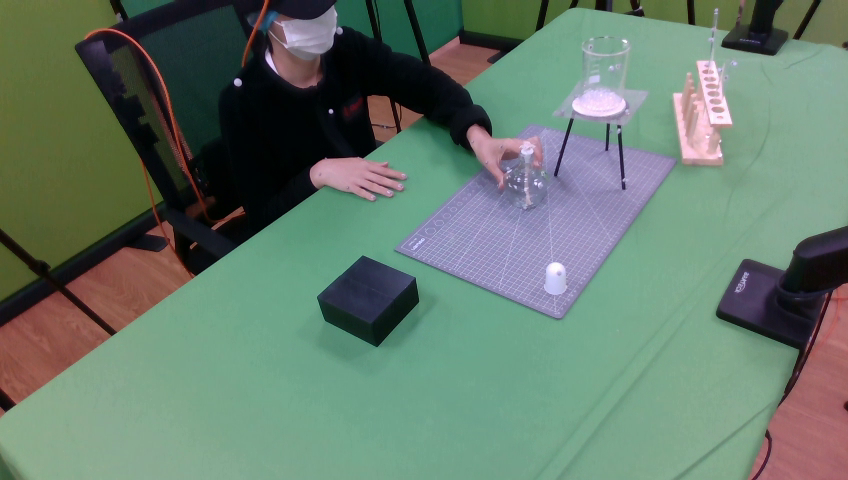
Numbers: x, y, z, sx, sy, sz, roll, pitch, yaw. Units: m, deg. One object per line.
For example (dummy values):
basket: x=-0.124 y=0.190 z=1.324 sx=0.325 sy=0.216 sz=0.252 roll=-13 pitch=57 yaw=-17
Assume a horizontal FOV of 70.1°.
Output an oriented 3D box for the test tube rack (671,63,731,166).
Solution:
test tube rack: x=0.513 y=-0.240 z=1.132 sx=0.066 sy=0.085 sz=0.242 roll=4 pitch=41 yaw=14

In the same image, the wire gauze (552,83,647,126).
wire gauze: x=0.293 y=-0.224 z=1.004 sx=0.120 sy=0.011 sz=0.125 roll=19 pitch=43 yaw=26

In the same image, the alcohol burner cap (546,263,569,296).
alcohol burner cap: x=0.191 y=0.053 z=0.862 sx=0.034 sy=0.048 sz=0.033 roll=-5 pitch=40 yaw=4

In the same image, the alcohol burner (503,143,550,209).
alcohol burner: x=0.171 y=-0.111 z=1.006 sx=0.078 sy=0.119 sz=0.077 roll=-4 pitch=41 yaw=4

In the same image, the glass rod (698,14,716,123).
glass rod: x=0.531 y=-0.320 z=1.136 sx=0.008 sy=0.200 sz=0.008 roll=3 pitch=12 yaw=0

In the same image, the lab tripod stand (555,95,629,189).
lab tripod stand: x=0.300 y=-0.174 z=1.045 sx=0.148 sy=0.132 sz=0.147 roll=-5 pitch=38 yaw=5

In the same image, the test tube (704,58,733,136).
test tube: x=0.516 y=-0.247 z=1.062 sx=0.017 sy=0.151 sz=0.017 roll=-3 pitch=43 yaw=4

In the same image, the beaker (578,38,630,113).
beaker: x=0.290 y=-0.265 z=0.976 sx=0.084 sy=0.101 sz=0.073 roll=-18 pitch=41 yaw=-14
